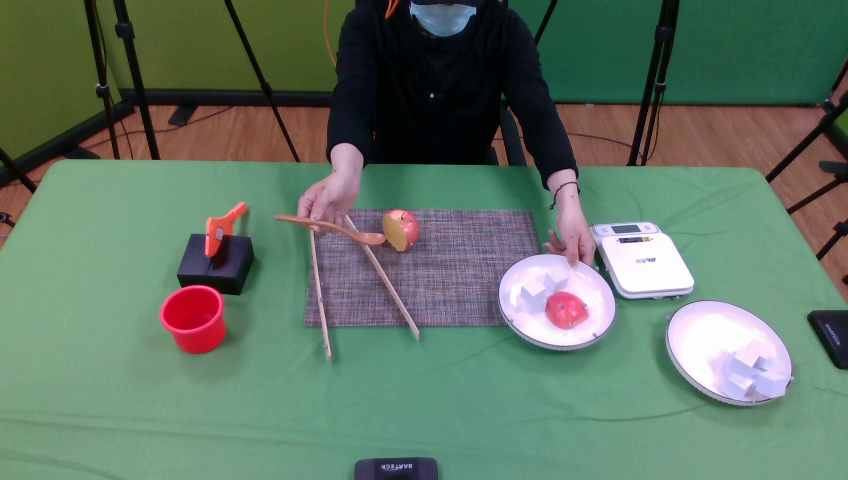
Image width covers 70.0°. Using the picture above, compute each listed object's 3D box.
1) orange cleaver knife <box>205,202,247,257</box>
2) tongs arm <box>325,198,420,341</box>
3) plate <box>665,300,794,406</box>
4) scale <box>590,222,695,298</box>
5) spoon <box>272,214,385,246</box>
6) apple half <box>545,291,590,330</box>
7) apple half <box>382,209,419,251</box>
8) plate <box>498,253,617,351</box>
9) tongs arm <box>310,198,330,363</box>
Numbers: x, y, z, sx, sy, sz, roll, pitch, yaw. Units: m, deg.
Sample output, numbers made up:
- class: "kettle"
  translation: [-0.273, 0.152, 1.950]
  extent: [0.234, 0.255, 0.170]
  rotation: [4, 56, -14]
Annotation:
- class: "orange cleaver knife"
  translation: [-0.374, -0.024, 1.151]
  extent: [0.012, 0.077, 0.210]
  rotation: [4, 16, 1]
- class: "tongs arm"
  translation: [-0.101, 0.042, 1.139]
  extent: [0.028, 0.028, 0.385]
  rotation: [-22, 51, -18]
- class: "plate"
  translation: [0.513, 0.194, 1.034]
  extent: [0.208, 0.039, 0.206]
  rotation: [2, 46, -2]
- class: "scale"
  translation: [0.424, 0.031, 1.189]
  extent: [0.149, 0.032, 0.199]
  rotation: [-3, 46, -7]
- class: "spoon"
  translation: [-0.153, -0.020, 0.990]
  extent: [0.194, 0.022, 0.041]
  rotation: [17, 25, -28]
- class: "apple half"
  translation: [0.253, 0.116, 1.068]
  extent: [0.081, 0.033, 0.081]
  rotation: [1, 51, -1]
- class: "apple half"
  translation: [-0.039, -0.022, 1.175]
  extent: [0.053, 0.075, 0.080]
  rotation: [-26, 50, -31]
- class: "plate"
  translation: [0.234, 0.112, 1.079]
  extent: [0.209, 0.038, 0.208]
  rotation: [0, 48, 0]
- class: "tongs arm"
  translation: [-0.180, 0.058, 1.117]
  extent: [0.051, 0.026, 0.382]
  rotation: [-9, 47, -11]
